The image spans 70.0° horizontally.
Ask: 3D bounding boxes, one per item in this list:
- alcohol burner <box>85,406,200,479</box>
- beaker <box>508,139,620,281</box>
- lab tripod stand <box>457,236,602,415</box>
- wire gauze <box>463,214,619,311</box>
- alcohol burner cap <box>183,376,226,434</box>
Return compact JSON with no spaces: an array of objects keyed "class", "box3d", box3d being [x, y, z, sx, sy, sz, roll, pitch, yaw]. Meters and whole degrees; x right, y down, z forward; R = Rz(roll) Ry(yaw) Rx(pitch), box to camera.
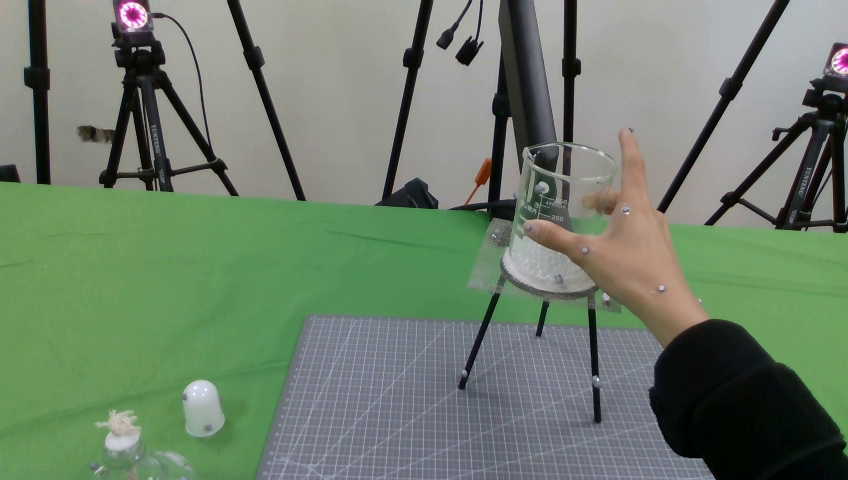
[{"class":"alcohol burner","box3d":[-0.194,0.159,0.405,0.078,0.120,0.077,1,31,0]},{"class":"beaker","box3d":[0.108,-0.025,0.500,0.074,0.101,0.083,-21,39,-36]},{"class":"lab tripod stand","box3d":[0.109,0.075,0.556,0.148,0.132,0.147,5,30,-2]},{"class":"wire gauze","box3d":[0.106,0.018,0.523,0.121,0.011,0.124,10,33,11]},{"class":"alcohol burner cap","box3d":[-0.188,0.137,0.514,0.034,0.048,0.033,2,30,-1]}]
